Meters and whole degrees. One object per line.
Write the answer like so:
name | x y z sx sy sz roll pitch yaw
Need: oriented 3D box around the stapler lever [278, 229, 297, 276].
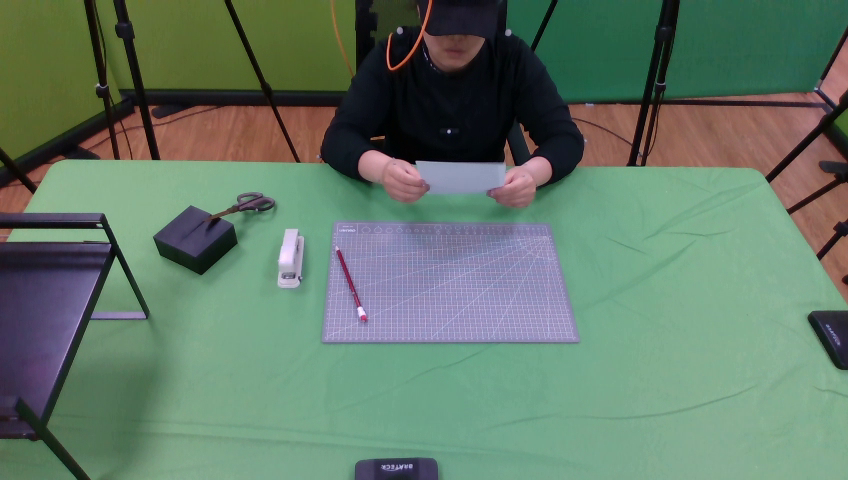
stapler lever | -0.253 0.016 1.128 0.027 0.040 0.117 1 45 -7

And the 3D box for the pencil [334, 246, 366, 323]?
pencil | -0.140 0.077 1.116 0.012 0.012 0.192 -14 48 -17

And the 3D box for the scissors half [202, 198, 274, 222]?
scissors half | -0.364 -0.056 1.192 0.040 0.013 0.175 36 32 24

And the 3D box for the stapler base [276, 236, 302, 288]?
stapler base | -0.254 0.034 1.144 0.041 0.024 0.129 1 44 -7

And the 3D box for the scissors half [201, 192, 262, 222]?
scissors half | -0.381 -0.066 1.198 0.040 0.013 0.175 22 27 11
